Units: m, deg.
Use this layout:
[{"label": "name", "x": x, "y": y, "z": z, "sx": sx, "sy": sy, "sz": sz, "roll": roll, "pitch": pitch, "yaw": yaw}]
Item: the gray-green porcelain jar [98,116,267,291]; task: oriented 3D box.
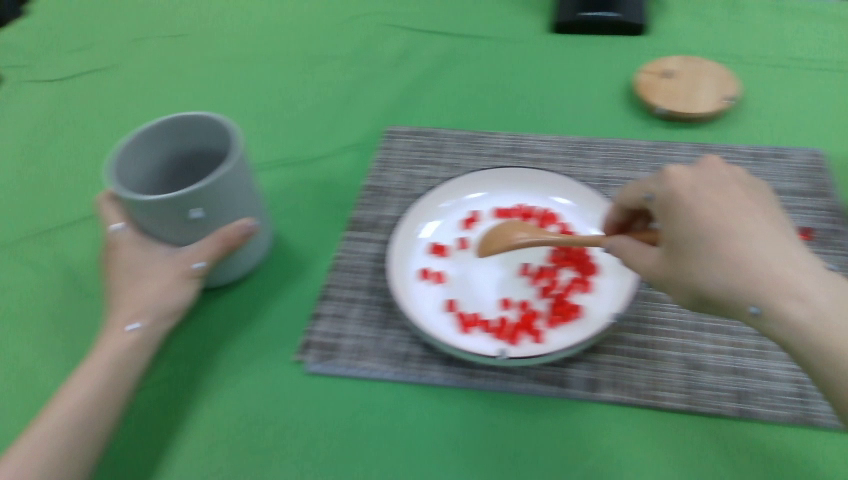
[{"label": "gray-green porcelain jar", "x": -0.200, "y": -0.026, "z": 0.527, "sx": 0.106, "sy": 0.128, "sz": 0.105, "roll": -2, "pitch": 49, "yaw": 3}]

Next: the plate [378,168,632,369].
[{"label": "plate", "x": 0.066, "y": 0.022, "z": 0.516, "sx": 0.207, "sy": 0.039, "sz": 0.205, "roll": -2, "pitch": 49, "yaw": 3}]

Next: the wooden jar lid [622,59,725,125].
[{"label": "wooden jar lid", "x": 0.276, "y": -0.165, "z": 0.675, "sx": 0.108, "sy": 0.021, "sz": 0.107, "roll": -2, "pitch": 50, "yaw": 3}]

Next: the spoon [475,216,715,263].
[{"label": "spoon", "x": 0.110, "y": 0.003, "z": 0.435, "sx": 0.192, "sy": 0.022, "sz": 0.041, "roll": 4, "pitch": 64, "yaw": 43}]
